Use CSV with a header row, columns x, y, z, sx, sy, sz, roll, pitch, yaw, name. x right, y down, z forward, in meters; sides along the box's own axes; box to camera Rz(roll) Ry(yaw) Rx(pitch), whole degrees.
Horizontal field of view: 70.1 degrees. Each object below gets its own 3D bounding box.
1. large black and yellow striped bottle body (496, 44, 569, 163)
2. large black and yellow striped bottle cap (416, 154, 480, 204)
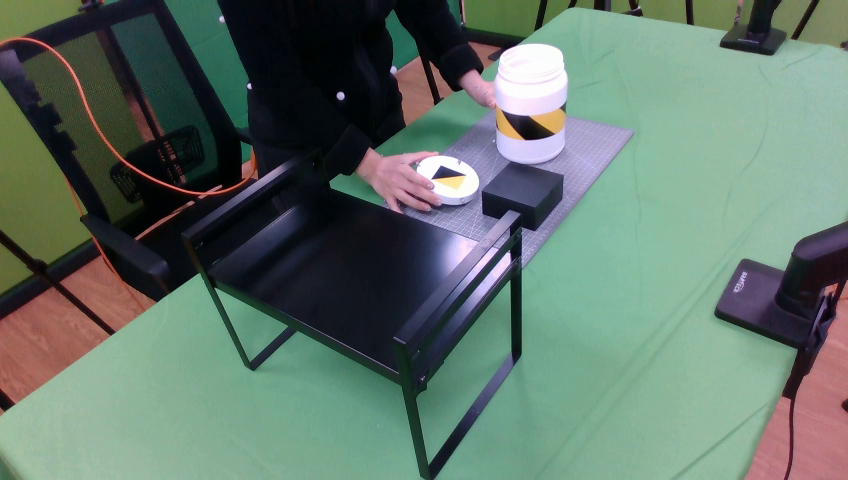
x,y,z,sx,sy,sz,roll,pitch,yaw,name
0.198,-0.250,1.108,0.131,0.185,0.130,-4,40,4,large black and yellow striped bottle body
0.043,-0.109,1.070,0.115,0.019,0.114,9,46,-9,large black and yellow striped bottle cap
